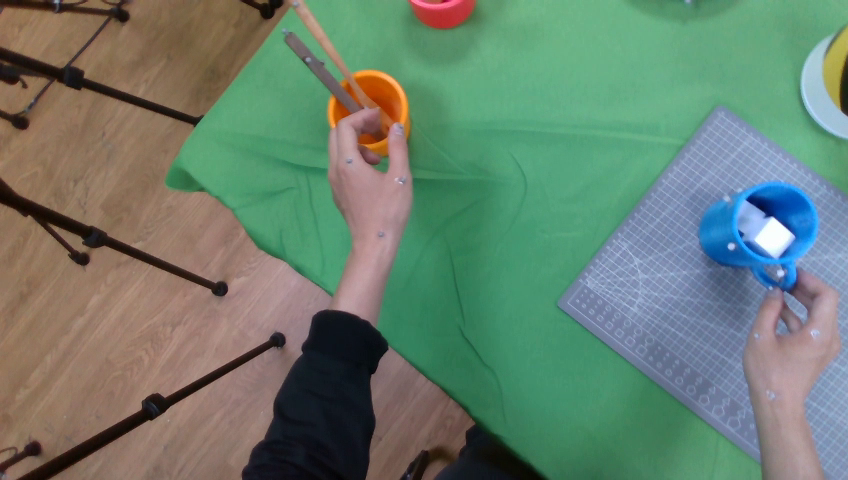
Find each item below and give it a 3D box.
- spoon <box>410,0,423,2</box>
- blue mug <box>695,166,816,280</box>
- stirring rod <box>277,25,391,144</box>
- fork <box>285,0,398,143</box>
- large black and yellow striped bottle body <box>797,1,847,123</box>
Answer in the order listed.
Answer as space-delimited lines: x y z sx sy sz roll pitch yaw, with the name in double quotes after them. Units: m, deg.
0.043 -0.318 0.672 0.193 0.022 0.041 -13 80 50 "spoon"
0.352 -0.013 0.641 0.082 0.106 0.116 -22 85 5 "blue mug"
-0.097 -0.171 0.681 0.014 0.005 0.178 -52 124 -8 "stirring rod"
-0.092 -0.192 0.679 0.028 0.018 0.209 -36 127 4 "fork"
0.476 -0.199 0.598 0.130 0.184 0.130 0 87 7 "large black and yellow striped bottle body"
